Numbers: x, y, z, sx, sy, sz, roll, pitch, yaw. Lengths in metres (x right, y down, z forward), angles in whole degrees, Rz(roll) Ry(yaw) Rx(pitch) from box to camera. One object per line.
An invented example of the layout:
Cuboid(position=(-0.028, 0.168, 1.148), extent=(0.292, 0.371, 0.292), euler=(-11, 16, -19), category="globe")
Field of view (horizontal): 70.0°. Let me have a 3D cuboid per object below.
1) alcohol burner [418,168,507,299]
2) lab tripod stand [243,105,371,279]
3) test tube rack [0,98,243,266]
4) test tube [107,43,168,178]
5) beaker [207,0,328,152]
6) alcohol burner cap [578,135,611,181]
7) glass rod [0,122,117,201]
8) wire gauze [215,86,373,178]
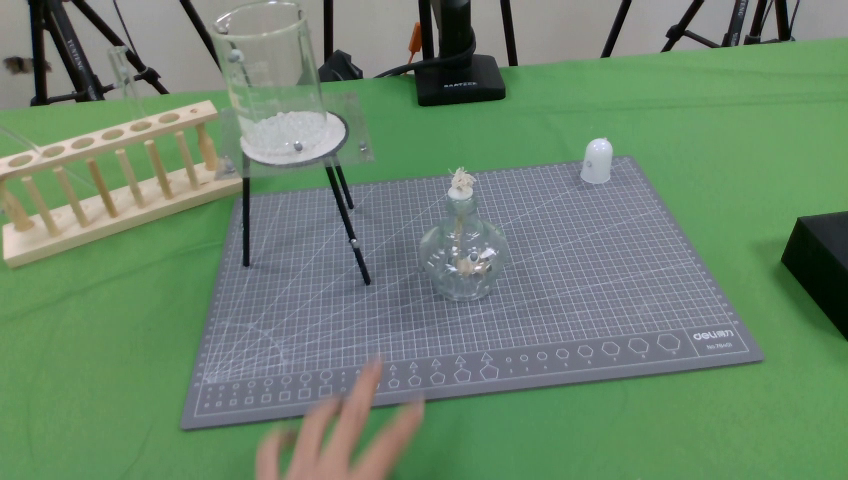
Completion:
Cuboid(position=(0.032, -0.008, 0.516), extent=(0.078, 0.120, 0.077), euler=(-3, 39, 3), category="alcohol burner")
Cuboid(position=(-0.107, -0.042, 0.552), extent=(0.148, 0.133, 0.147), euler=(-3, 43, 3), category="lab tripod stand")
Cuboid(position=(-0.326, -0.066, 0.640), extent=(0.243, 0.086, 0.066), euler=(-22, 44, -20), category="test tube rack")
Cuboid(position=(-0.298, -0.131, 0.636), extent=(0.017, 0.151, 0.017), euler=(-2, 38, 2), category="test tube")
Cuboid(position=(-0.120, -0.127, 0.476), extent=(0.083, 0.101, 0.073), euler=(14, 44, 22), category="beaker")
Cuboid(position=(0.185, -0.091, 0.653), extent=(0.034, 0.048, 0.033), euler=(-2, 41, 2), category="alcohol burner cap")
Cuboid(position=(-0.387, -0.093, 0.591), extent=(0.008, 0.202, 0.008), euler=(-18, 51, 24), category="glass rod")
Cuboid(position=(-0.111, -0.091, 0.509), extent=(0.125, 0.011, 0.120), euler=(-12, 39, -4), category="wire gauze")
